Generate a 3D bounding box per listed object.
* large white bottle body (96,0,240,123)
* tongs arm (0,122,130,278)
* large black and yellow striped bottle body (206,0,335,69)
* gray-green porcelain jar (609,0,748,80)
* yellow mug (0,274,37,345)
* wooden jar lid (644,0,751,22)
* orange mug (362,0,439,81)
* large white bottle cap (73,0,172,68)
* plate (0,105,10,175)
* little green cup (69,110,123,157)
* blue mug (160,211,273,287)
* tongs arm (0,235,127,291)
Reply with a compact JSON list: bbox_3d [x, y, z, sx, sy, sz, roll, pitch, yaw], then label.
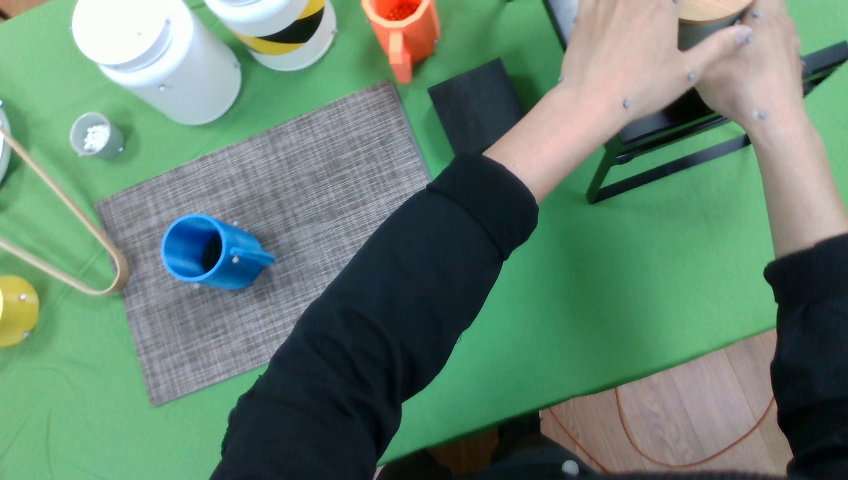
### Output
[{"bbox_3d":[-0.333,-0.241,0.775,0.130,0.185,0.130,-1,81,8],"label":"large white bottle body"},{"bbox_3d":[-0.536,-0.093,0.839,0.387,0.028,0.028,45,80,5],"label":"tongs arm"},{"bbox_3d":[-0.199,-0.314,0.768,0.130,0.185,0.130,-1,81,8],"label":"large black and yellow striped bottle body"},{"bbox_3d":[0.225,-0.211,0.543,0.106,0.127,0.105,-1,81,8],"label":"gray-green porcelain jar"},{"bbox_3d":[-0.599,0.107,0.820,0.099,0.064,0.130,17,85,9],"label":"yellow mug"},{"bbox_3d":[0.216,-0.221,0.481,0.108,0.021,0.108,-1,81,7],"label":"wooden jar lid"},{"bbox_3d":[-0.029,-0.277,0.784,0.083,0.101,0.125,2,77,9],"label":"orange mug"},{"bbox_3d":[-0.345,-0.254,0.692,0.114,0.018,0.114,-1,82,8],"label":"large white bottle cap"},{"bbox_3d":[-0.694,-0.134,0.883,0.207,0.039,0.207,-1,82,7],"label":"plate"},{"bbox_3d":[-0.459,-0.147,0.853,0.061,0.039,0.061,-1,82,7],"label":"little green cup"},{"bbox_3d":[-0.250,0.016,0.762,0.116,0.106,0.082,4,82,8],"label":"blue mug"},{"bbox_3d":[-0.586,-0.025,0.832,0.384,0.026,0.050,31,83,4],"label":"tongs arm"}]
